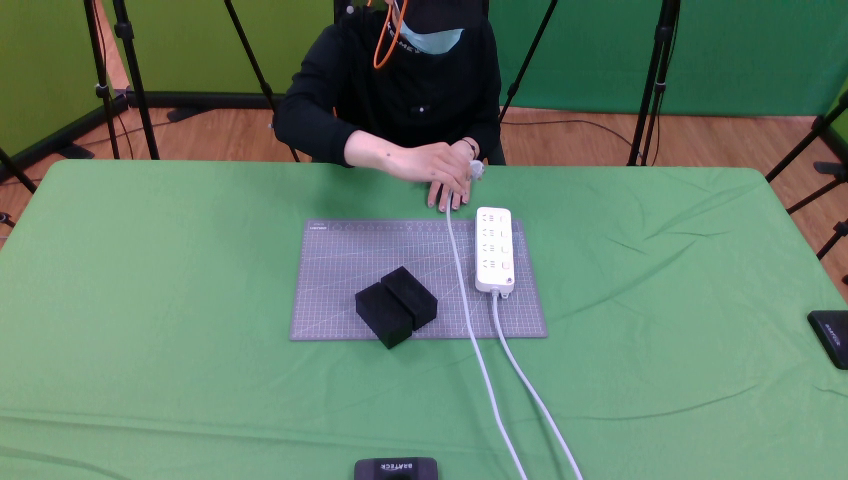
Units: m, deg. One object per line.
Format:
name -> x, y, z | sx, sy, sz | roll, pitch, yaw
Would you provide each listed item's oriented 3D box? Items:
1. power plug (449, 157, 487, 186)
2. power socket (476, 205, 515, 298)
power plug -> 0.080, -0.120, 1.097 | 0.072, 0.053, 0.035 | -40, 46, 16
power socket -> 0.139, 0.013, 1.178 | 0.072, 0.033, 0.225 | 4, 47, 2
